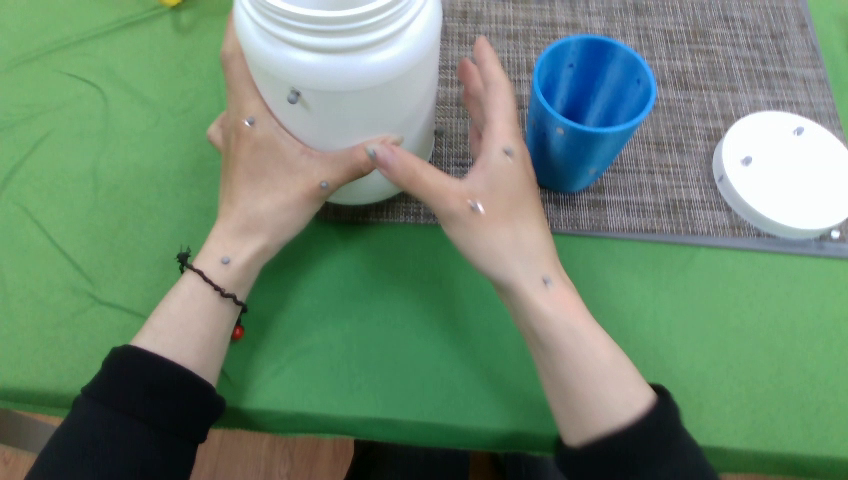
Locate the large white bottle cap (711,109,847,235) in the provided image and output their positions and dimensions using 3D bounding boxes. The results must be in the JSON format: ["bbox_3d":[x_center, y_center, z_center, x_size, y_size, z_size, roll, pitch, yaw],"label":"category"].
[{"bbox_3d":[0.298,-0.058,0.501,0.115,0.018,0.114,1,64,-2],"label":"large white bottle cap"}]

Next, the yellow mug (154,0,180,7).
[{"bbox_3d":[-0.222,-0.273,0.559,0.100,0.064,0.130,14,65,4],"label":"yellow mug"}]

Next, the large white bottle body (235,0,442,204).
[{"bbox_3d":[-0.055,-0.124,0.424,0.131,0.186,0.129,1,63,-2],"label":"large white bottle body"}]

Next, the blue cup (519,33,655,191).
[{"bbox_3d":[0.115,-0.088,0.460,0.092,0.101,0.092,0,64,0],"label":"blue cup"}]
